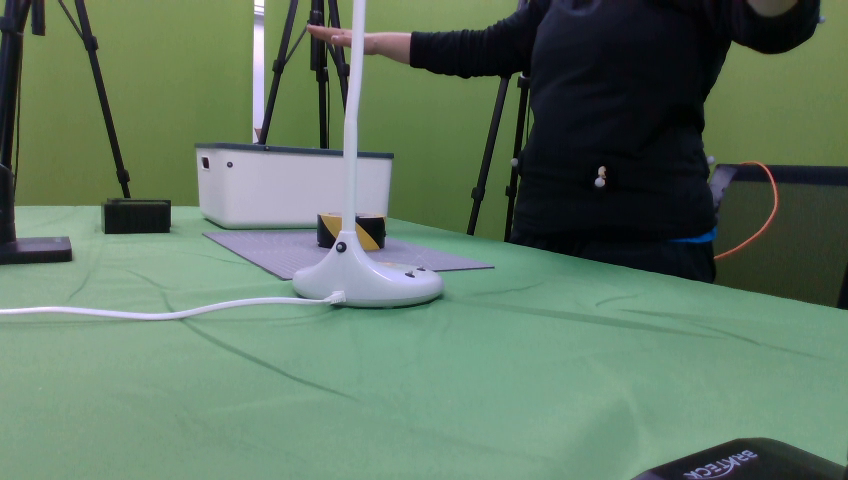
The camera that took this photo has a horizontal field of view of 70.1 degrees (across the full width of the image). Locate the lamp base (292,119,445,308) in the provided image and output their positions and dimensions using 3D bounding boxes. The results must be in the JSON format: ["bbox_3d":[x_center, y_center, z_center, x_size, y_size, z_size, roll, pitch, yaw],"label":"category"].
[{"bbox_3d":[-0.056,-0.030,0.616,0.160,0.180,0.179,3,10,8],"label":"lamp base"}]

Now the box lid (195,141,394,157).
[{"bbox_3d":[-0.277,-0.190,1.282,0.373,0.015,0.262,-1,8,-30],"label":"box lid"}]

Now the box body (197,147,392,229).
[{"bbox_3d":[-0.278,-0.117,1.292,0.366,0.160,0.253,-2,8,-30],"label":"box body"}]

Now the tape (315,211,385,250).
[{"bbox_3d":[-0.119,-0.017,0.973,0.117,0.052,0.117,2,7,0],"label":"tape"}]
